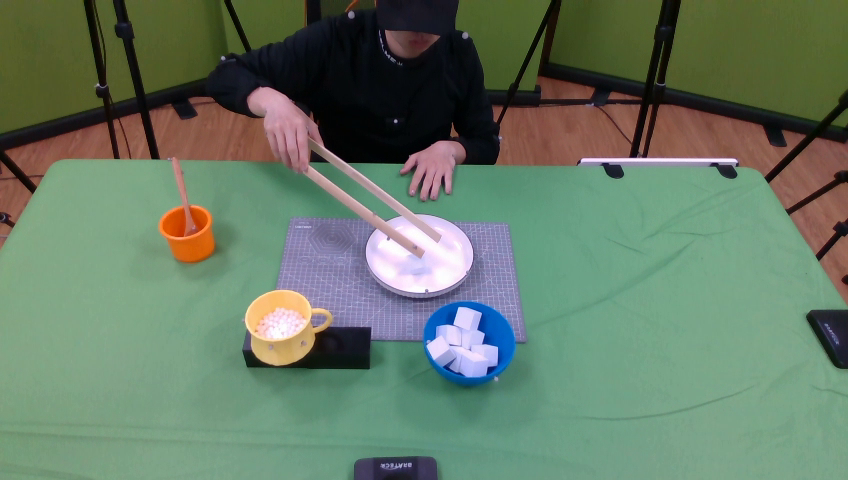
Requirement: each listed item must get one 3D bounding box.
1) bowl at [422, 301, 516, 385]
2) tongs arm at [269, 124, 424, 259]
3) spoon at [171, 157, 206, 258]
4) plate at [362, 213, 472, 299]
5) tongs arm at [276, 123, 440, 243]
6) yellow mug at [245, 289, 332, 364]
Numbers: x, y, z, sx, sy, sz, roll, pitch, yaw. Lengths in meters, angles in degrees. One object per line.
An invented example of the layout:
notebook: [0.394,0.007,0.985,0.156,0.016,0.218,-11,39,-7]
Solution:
bowl: [0.069,0.181,0.990,0.151,0.077,0.150,2,46,-2]
tongs arm: [-0.147,-0.094,1.135,0.384,0.026,0.050,35,49,8]
spoon: [-0.444,-0.061,1.133,0.042,0.193,0.021,-12,4,-21]
plate: [-0.014,0.034,1.149,0.208,0.039,0.206,3,46,-2]
tongs arm: [-0.128,-0.112,1.158,0.387,0.028,0.028,36,53,9]
yellow mug: [-0.210,0.133,0.954,0.131,0.064,0.099,-9,48,-14]
